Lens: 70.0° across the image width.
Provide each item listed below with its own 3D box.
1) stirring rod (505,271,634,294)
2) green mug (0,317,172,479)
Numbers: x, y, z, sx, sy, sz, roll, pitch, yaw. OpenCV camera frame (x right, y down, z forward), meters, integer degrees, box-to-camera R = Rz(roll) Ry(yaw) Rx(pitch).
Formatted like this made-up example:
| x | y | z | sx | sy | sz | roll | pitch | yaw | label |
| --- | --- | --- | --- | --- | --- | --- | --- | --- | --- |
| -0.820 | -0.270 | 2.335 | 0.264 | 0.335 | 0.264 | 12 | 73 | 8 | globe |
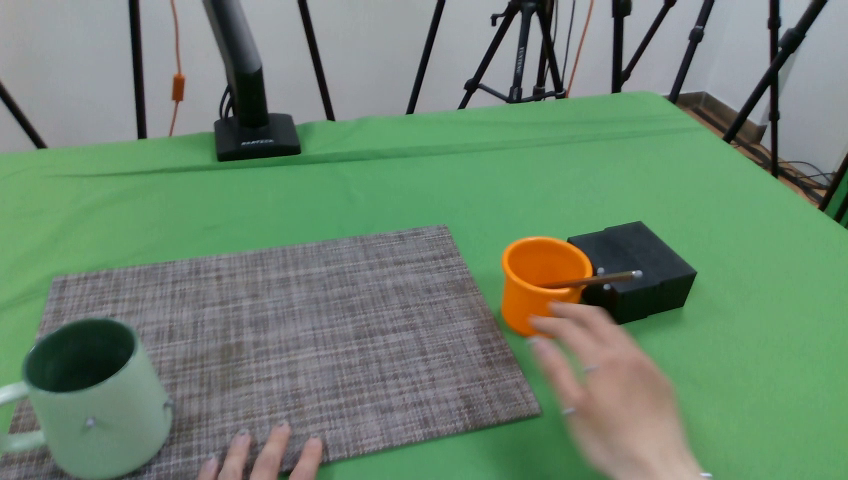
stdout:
| x | y | z | sx | sy | sz | roll | pitch | yaw | label |
| --- | --- | --- | --- | --- | --- | --- | --- | --- | --- |
| 0.136 | 0.043 | 0.594 | 0.014 | 0.006 | 0.175 | -19 | 1 | -30 | stirring rod |
| -0.270 | 0.129 | 0.471 | 0.126 | 0.106 | 0.091 | -15 | 41 | -23 | green mug |
